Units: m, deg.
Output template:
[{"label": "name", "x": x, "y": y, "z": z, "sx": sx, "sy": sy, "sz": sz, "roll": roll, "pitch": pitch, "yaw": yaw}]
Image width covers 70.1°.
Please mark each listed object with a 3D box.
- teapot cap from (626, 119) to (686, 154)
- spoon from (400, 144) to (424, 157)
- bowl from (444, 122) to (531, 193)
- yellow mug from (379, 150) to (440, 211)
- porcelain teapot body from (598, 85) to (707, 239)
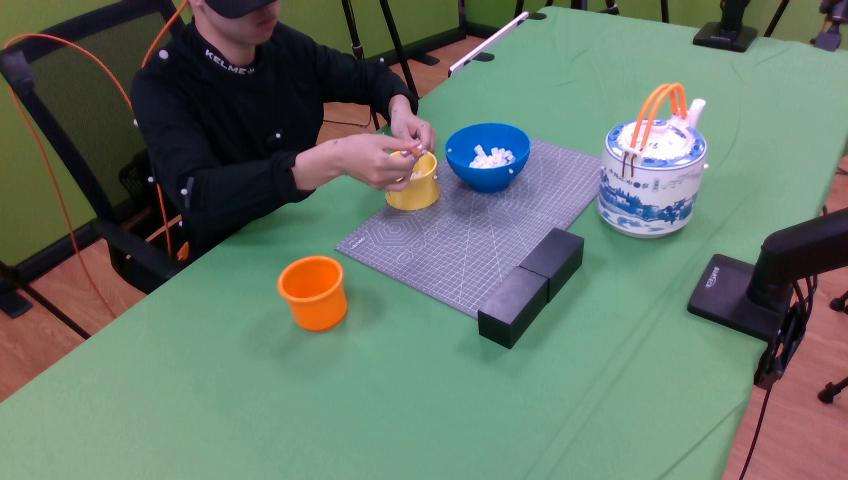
[{"label": "teapot cap", "x": 0.338, "y": -0.153, "z": 0.882, "sx": 0.085, "sy": 0.044, "sz": 0.085, "roll": -3, "pitch": 38, "yaw": 3}, {"label": "spoon", "x": -0.016, "y": -0.140, "z": 0.942, "sx": 0.042, "sy": 0.021, "sz": 0.193, "roll": -13, "pitch": 9, "yaw": -2}, {"label": "bowl", "x": 0.113, "y": -0.136, "z": 1.063, "sx": 0.151, "sy": 0.077, "sz": 0.150, "roll": -4, "pitch": 41, "yaw": 4}, {"label": "yellow mug", "x": -0.022, "y": -0.117, "z": 1.071, "sx": 0.100, "sy": 0.064, "sz": 0.130, "roll": 0, "pitch": 40, "yaw": 8}, {"label": "porcelain teapot body", "x": 0.363, "y": -0.137, "z": 0.921, "sx": 0.144, "sy": 0.226, "sz": 0.206, "roll": 28, "pitch": 51, "yaw": 36}]
